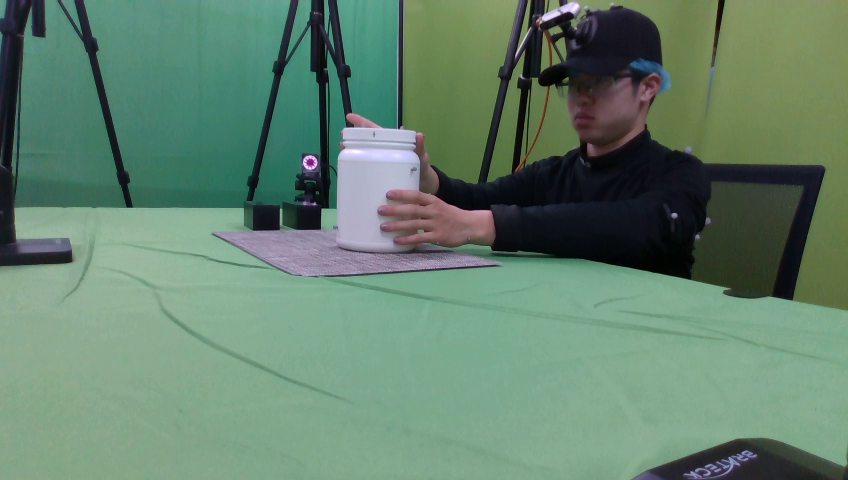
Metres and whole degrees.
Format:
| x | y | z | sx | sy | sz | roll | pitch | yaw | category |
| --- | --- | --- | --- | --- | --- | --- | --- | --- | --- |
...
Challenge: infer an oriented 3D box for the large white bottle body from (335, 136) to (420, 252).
| x | y | z | sx | sy | sz | roll | pitch | yaw | category |
| --- | --- | --- | --- | --- | --- | --- | --- | --- | --- |
| -0.073 | -0.080 | 0.954 | 0.131 | 0.184 | 0.130 | 2 | 8 | 0 | large white bottle body |

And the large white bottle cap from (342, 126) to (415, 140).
| x | y | z | sx | sy | sz | roll | pitch | yaw | category |
| --- | --- | --- | --- | --- | --- | --- | --- | --- | --- |
| -0.070 | -0.167 | 0.943 | 0.115 | 0.018 | 0.115 | 3 | 10 | 0 | large white bottle cap |
